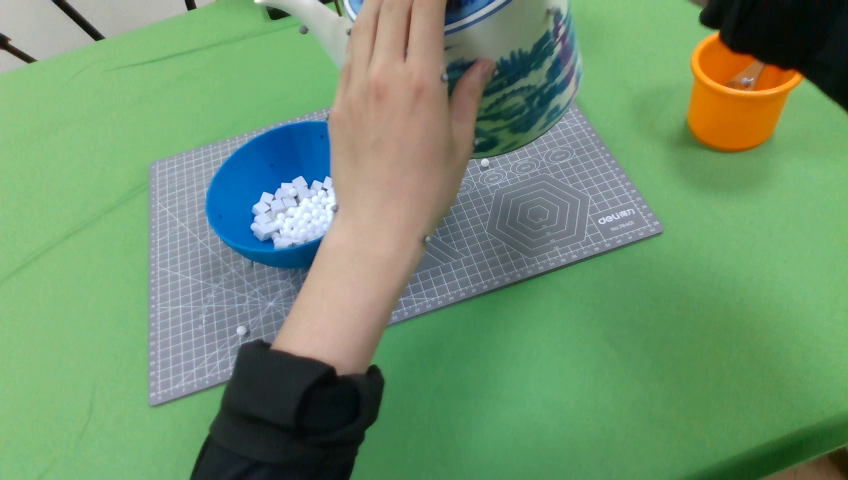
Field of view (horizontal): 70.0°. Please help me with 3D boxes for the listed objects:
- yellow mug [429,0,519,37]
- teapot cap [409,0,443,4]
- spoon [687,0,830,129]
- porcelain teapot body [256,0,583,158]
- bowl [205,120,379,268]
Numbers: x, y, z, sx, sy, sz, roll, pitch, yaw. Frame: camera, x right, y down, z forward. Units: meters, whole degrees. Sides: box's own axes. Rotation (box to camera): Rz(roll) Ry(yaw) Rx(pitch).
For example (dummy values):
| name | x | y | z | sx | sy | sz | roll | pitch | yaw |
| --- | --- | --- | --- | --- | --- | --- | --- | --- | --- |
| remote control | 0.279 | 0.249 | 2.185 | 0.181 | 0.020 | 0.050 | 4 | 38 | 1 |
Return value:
| name | x | y | z | sx | sy | sz | roll | pitch | yaw |
| --- | --- | --- | --- | --- | --- | --- | --- | --- | --- |
| yellow mug | 0.045 | -0.268 | 0.638 | 0.099 | 0.064 | 0.130 | 10 | 58 | 18 |
| teapot cap | 0.007 | -0.187 | 0.379 | 0.085 | 0.044 | 0.084 | -12 | 58 | 20 |
| spoon | 0.307 | -0.172 | 0.521 | 0.022 | 0.194 | 0.041 | 13 | 40 | -36 |
| porcelain teapot body | -0.006 | -0.162 | 0.419 | 0.205 | 0.228 | 0.144 | -13 | 57 | 16 |
| bowl | -0.106 | -0.028 | 0.540 | 0.151 | 0.077 | 0.150 | -6 | 52 | 8 |
